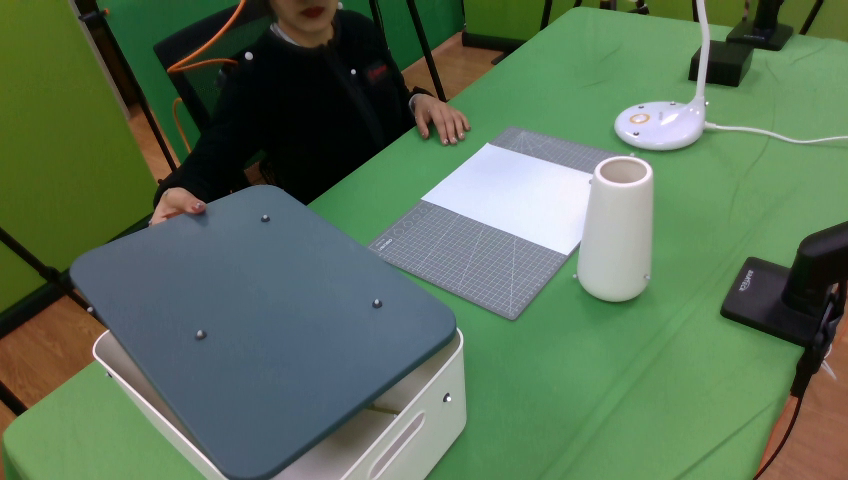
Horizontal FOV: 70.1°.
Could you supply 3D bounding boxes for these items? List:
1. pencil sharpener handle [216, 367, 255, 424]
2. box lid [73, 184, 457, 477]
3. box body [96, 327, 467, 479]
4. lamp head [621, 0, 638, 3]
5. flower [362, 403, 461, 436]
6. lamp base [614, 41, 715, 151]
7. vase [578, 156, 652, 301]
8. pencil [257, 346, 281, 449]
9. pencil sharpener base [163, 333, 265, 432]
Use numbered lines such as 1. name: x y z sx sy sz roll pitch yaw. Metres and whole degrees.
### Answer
1. pencil sharpener handle: -0.216 0.184 0.707 0.030 0.068 0.036 17 34 30
2. box lid: -0.176 0.057 0.642 0.264 0.015 0.368 -30 48 -35
3. box body: -0.155 0.169 0.708 0.361 0.161 0.255 23 49 33
4. lamp head: 0.319 -0.453 0.962 0.113 0.123 0.112 20 33 -13
5. flower: -0.119 0.204 0.775 0.359 0.038 0.044 2 77 25
6. lamp base: 0.449 -0.277 1.106 0.179 0.181 0.160 1 41 9
7. vase: 0.261 -0.011 0.812 0.098 0.201 0.097 -4 40 4
8. pencil: -0.208 0.201 0.799 0.012 0.012 0.192 -19 35 -11
9. pencil sharpener base: -0.253 0.177 0.743 0.076 0.107 0.061 17 52 29
